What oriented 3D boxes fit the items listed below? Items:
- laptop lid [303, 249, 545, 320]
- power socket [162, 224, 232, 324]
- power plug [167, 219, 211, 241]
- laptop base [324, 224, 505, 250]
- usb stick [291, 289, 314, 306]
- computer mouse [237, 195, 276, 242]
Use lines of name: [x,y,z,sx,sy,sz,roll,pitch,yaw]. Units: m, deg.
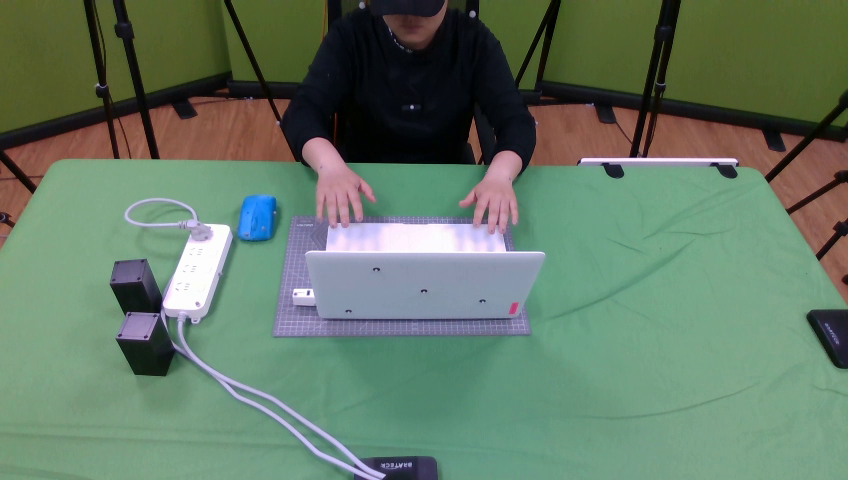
laptop lid: [-0.003,0.076,0.962,0.357,0.242,0.013,1,58,-5]
power socket: [-0.411,0.052,1.106,0.072,0.033,0.225,4,45,-1]
power plug: [-0.438,-0.017,1.143,0.072,0.053,0.035,10,43,7]
laptop base: [-0.014,0.055,1.144,0.355,0.023,0.234,0,42,-4]
usb stick: [-0.203,0.101,1.067,0.059,0.027,0.021,4,45,-5]
computer mouse: [-0.333,-0.047,1.207,0.063,0.041,0.116,3,50,-5]
